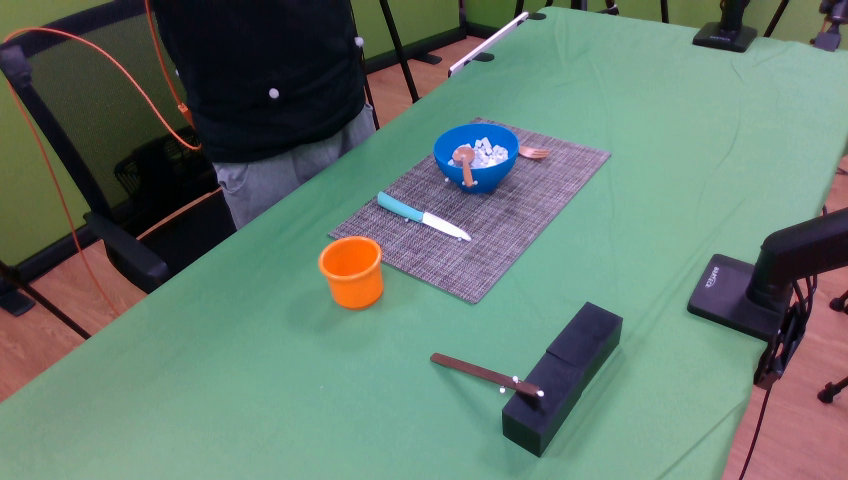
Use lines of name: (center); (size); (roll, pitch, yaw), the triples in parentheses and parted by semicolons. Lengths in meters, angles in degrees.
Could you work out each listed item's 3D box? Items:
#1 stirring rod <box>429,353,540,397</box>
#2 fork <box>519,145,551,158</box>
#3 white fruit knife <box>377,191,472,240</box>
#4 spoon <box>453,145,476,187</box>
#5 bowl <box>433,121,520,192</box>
stirring rod: (0.069, 0.162, 0.737); (0.174, 0.006, 0.014); (8, 42, 47)
fork: (0.146, -0.188, 1.162); (0.206, 0.019, 0.028); (22, 58, 27)
white fruit knife: (-0.004, -0.039, 1.012); (0.206, 0.016, 0.027); (25, 61, 31)
spoon: (0.069, -0.125, 1.000); (0.041, 0.022, 0.193); (-9, 21, 6)
bowl: (0.093, -0.137, 1.064); (0.151, 0.077, 0.150); (-4, 41, 4)
